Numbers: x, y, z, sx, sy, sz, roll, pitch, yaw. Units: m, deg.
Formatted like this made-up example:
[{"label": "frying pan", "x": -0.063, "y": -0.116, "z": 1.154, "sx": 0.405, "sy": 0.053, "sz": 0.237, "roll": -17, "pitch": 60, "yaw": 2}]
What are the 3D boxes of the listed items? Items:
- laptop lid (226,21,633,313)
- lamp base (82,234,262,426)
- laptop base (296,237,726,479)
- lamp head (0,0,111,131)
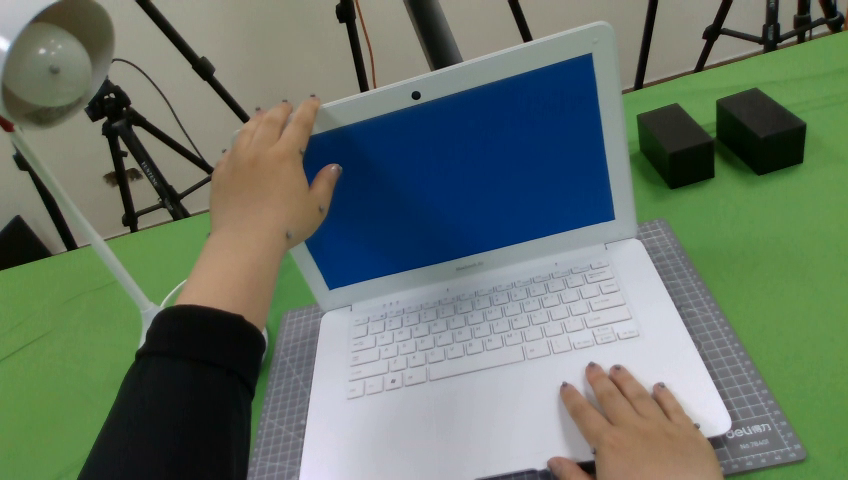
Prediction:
[{"label": "laptop lid", "x": 0.017, "y": -0.050, "z": 0.592, "sx": 0.356, "sy": 0.244, "sz": 0.013, "roll": -16, "pitch": 34, "yaw": 8}, {"label": "lamp base", "x": -0.288, "y": 0.078, "z": 0.639, "sx": 0.178, "sy": 0.182, "sz": 0.160, "roll": 12, "pitch": 47, "yaw": 39}, {"label": "laptop base", "x": 0.056, "y": 0.116, "z": 0.565, "sx": 0.354, "sy": 0.023, "sz": 0.233, "roll": -15, "pitch": 40, "yaw": 8}, {"label": "lamp head", "x": -0.321, "y": -0.155, "z": 0.452, "sx": 0.123, "sy": 0.113, "sz": 0.112, "roll": 27, "pitch": 49, "yaw": 3}]
